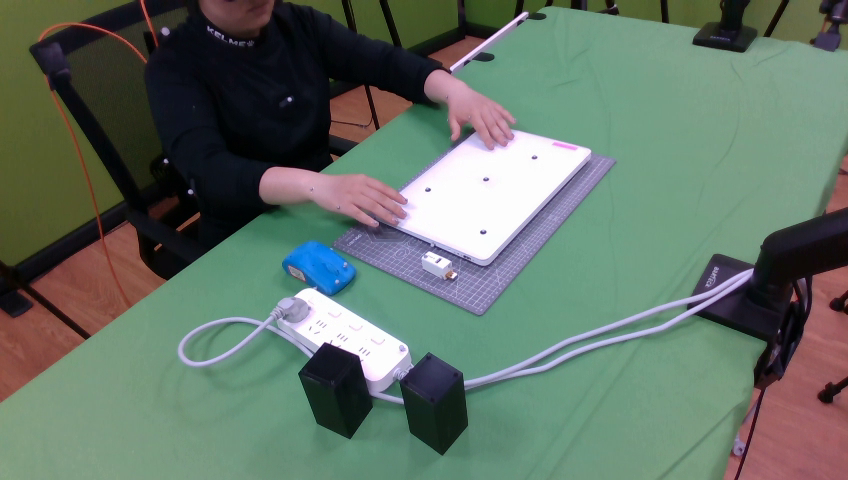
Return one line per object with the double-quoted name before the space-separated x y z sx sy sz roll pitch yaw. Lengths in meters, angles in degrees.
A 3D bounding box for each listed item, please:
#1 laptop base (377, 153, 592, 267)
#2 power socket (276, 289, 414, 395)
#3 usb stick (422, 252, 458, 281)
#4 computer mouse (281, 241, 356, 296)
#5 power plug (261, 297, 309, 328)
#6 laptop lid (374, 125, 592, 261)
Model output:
"laptop base" 0.112 -0.092 1.063 0.233 0.023 0.355 21 48 33
"power socket" -0.115 0.133 0.821 0.225 0.033 0.072 26 49 33
"usb stick" 0.025 0.042 0.908 0.058 0.027 0.021 27 49 31
"computer mouse" -0.164 0.041 0.934 0.116 0.041 0.063 27 48 28
"power plug" -0.192 0.107 0.831 0.073 0.053 0.035 -33 43 -24
"laptop lid" 0.109 -0.101 1.057 0.239 0.013 0.358 23 48 34
